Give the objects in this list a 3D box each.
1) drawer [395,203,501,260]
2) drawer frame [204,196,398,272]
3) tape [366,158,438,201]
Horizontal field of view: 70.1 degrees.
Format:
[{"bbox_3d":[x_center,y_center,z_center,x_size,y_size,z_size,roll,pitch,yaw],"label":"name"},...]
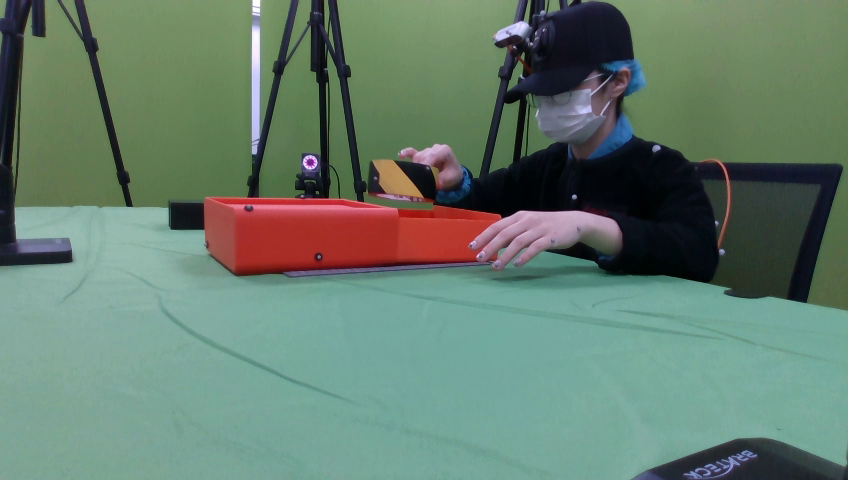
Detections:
[{"bbox_3d":[-0.025,-0.017,0.913,0.213,0.073,0.193,-1,9,-31],"label":"drawer"},{"bbox_3d":[-0.172,-0.016,0.828,0.215,0.082,0.200,-3,9,-30],"label":"drawer frame"},{"bbox_3d":[-0.034,-0.094,0.948,0.117,0.052,0.117,6,-1,0],"label":"tape"}]
